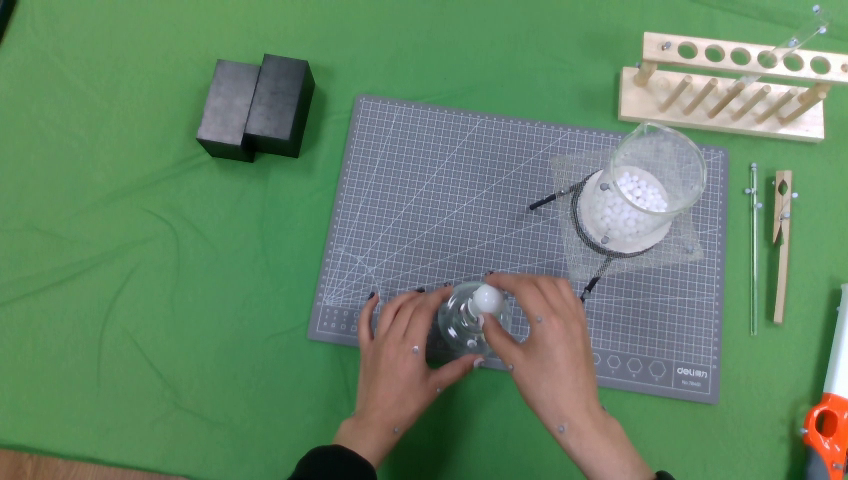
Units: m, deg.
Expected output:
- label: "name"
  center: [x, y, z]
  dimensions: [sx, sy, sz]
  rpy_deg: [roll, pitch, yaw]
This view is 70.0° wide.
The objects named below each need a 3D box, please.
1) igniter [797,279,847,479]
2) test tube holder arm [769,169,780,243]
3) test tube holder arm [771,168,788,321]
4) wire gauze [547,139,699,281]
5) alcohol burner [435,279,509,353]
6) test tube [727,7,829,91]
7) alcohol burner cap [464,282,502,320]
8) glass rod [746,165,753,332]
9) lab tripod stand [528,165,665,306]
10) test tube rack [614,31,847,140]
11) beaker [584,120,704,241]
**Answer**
- label: "igniter"
  center: [0.433, 0.174, 0.644]
  dimensions: [0.057, 0.025, 0.275]
  rpy_deg: [22, 77, -5]
- label: "test tube holder arm"
  center: [0.407, -0.040, 0.702]
  dimensions: [0.010, 0.015, 0.087]
  rpy_deg: [1, 74, 34]
- label: "test tube holder arm"
  center: [0.404, 0.004, 0.688]
  dimensions: [0.013, 0.015, 0.177]
  rpy_deg: [0, 74, 34]
- label: "wire gauze"
  center: [0.183, -0.031, 0.565]
  dimensions: [0.121, 0.011, 0.124]
  rpy_deg: [-8, 77, 1]
- label: "alcohol burner"
  center: [0.051, 0.074, 0.615]
  dimensions: [0.078, 0.119, 0.077]
  rpy_deg: [0, 74, -1]
- label: "test tube"
  center: [0.376, -0.201, 0.655]
  dimensions: [0.017, 0.150, 0.017]
  rpy_deg: [2, 76, -6]
- label: "alcohol burner cap"
  center: [0.056, 0.054, 0.555]
  dimensions: [0.034, 0.048, 0.033]
  rpy_deg: [1, 72, -3]
- label: "glass rod"
  center: [0.372, 0.006, 0.694]
  dimensions: [0.008, 0.008, 0.198]
  rpy_deg: [8, 76, 1]
- label: "lab tripod stand"
  center: [0.177, -0.014, 0.629]
  dimensions: [0.148, 0.132, 0.147]
  rpy_deg: [0, 76, 1]
- label: "test tube rack"
  center: [0.354, -0.176, 0.699]
  dimensions: [0.242, 0.085, 0.066]
  rpy_deg: [6, 76, 1]
- label: "beaker"
  center: [0.181, -0.046, 0.519]
  dimensions: [0.074, 0.101, 0.083]
  rpy_deg: [-6, 75, 0]
